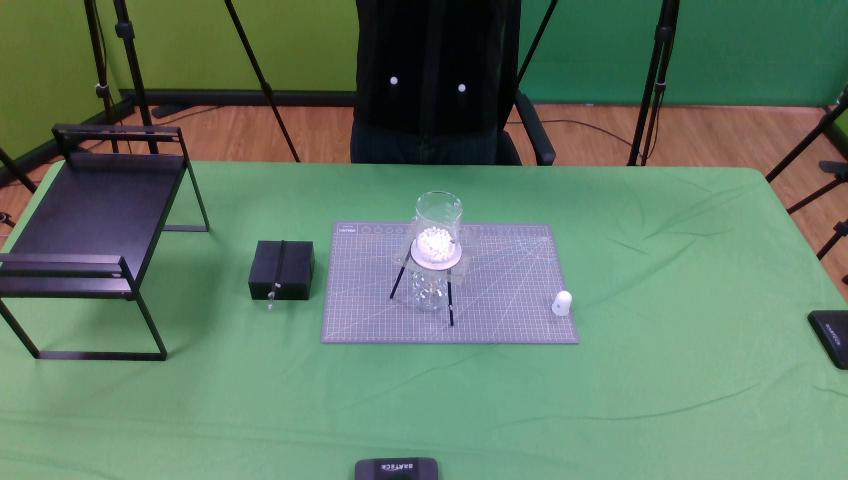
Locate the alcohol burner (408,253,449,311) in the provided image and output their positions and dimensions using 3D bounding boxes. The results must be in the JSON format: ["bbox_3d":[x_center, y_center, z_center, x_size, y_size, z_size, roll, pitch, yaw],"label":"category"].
[{"bbox_3d":[0.011,0.069,1.061,0.078,0.120,0.077,1,46,0],"label":"alcohol burner"}]

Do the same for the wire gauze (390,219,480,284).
[{"bbox_3d":[0.020,0.013,1.011,0.125,0.011,0.121,14,46,14],"label":"wire gauze"}]

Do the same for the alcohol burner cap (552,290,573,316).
[{"bbox_3d":[0.250,0.109,1.088,0.034,0.048,0.033,3,47,-3],"label":"alcohol burner cap"}]

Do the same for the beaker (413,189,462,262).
[{"bbox_3d":[0.022,-0.018,0.973,0.074,0.101,0.083,-19,50,-19],"label":"beaker"}]

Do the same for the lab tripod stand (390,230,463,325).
[{"bbox_3d":[0.014,0.060,1.056,0.148,0.132,0.147,1,48,-1],"label":"lab tripod stand"}]

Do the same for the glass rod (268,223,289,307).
[{"bbox_3d":[-0.259,0.041,1.080,0.008,0.008,0.198,2,46,-2],"label":"glass rod"}]
